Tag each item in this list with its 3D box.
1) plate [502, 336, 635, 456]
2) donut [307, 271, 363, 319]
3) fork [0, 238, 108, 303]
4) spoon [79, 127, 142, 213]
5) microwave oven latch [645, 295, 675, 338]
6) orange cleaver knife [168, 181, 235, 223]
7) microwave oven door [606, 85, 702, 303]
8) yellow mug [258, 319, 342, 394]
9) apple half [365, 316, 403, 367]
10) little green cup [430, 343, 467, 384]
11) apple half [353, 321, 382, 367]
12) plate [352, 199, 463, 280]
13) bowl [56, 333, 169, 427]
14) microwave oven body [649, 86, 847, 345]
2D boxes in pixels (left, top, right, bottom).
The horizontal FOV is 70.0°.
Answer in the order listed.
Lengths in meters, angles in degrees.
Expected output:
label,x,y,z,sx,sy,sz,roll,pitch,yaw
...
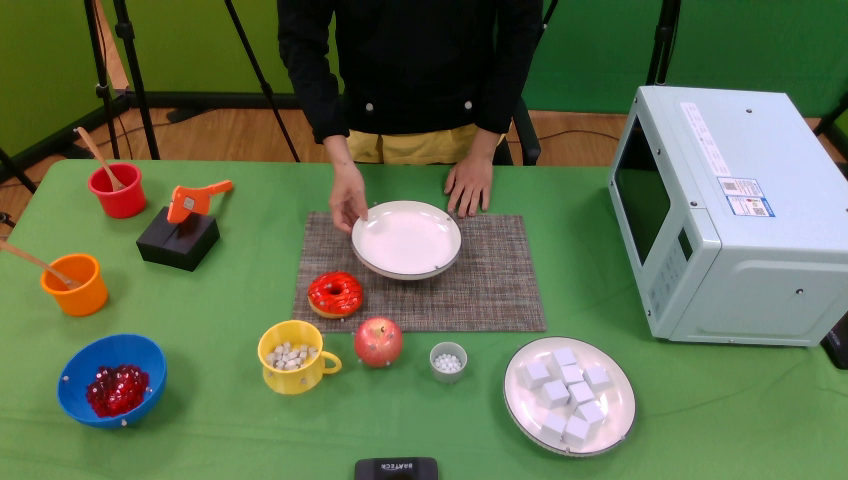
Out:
label,x,y,z,sx,sy,sz,roll,pitch,yaw
plate,0.225,0.248,0.963,0.208,0.039,0.206,2,46,-2
donut,-0.157,0.097,1.073,0.099,0.048,0.098,3,45,-3
fork,-0.633,0.048,1.017,0.208,0.018,0.028,40,41,-27
spoon,-0.625,-0.139,1.203,0.041,0.021,0.194,-33,100,-26
microwave oven latch,0.411,0.134,1.061,0.030,0.029,0.078,3,45,0
orange cleaver knife,-0.436,-0.078,1.196,0.012,0.077,0.211,16,15,10
microwave oven door,0.423,-0.094,1.140,0.039,0.245,0.353,2,46,-1
yellow mug,-0.196,0.188,0.972,0.131,0.064,0.099,9,46,4
apple half,-0.063,0.165,1.000,0.053,0.075,0.080,-16,45,-24
little green cup,0.039,0.203,0.994,0.061,0.039,0.061,2,46,-2
apple half,-0.098,0.177,0.984,0.033,0.081,0.081,-17,49,-25
plate,-0.031,0.003,1.134,0.209,0.038,0.208,3,43,-3
bowl,-0.456,0.223,0.912,0.151,0.077,0.150,3,46,-2
microwave oven body,0.567,-0.053,1.118,0.326,0.261,0.439,2,45,-1
